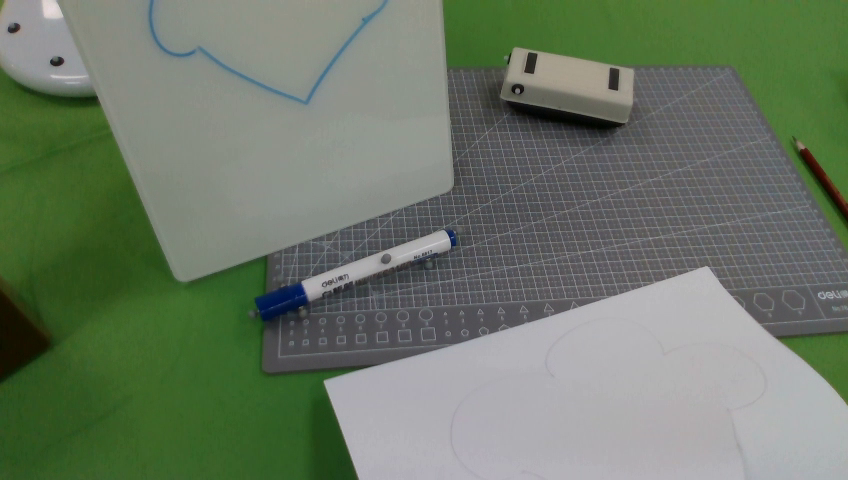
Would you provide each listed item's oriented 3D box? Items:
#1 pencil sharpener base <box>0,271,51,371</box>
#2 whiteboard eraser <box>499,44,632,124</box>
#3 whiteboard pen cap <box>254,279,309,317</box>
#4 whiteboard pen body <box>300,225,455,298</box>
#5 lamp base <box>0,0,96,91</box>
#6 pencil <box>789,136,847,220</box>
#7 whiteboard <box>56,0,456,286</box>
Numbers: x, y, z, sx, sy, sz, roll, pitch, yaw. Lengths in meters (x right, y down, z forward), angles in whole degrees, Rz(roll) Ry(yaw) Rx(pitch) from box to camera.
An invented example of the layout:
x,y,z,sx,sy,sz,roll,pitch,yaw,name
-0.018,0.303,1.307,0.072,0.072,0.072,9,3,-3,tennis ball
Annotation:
x,y,z,sx,sy,sz,roll,pitch,yaw,name
-0.276,0.036,0.335,0.061,0.108,0.076,38,60,19,pencil sharpener base
0.126,-0.137,0.537,0.112,0.042,0.055,13,55,3,whiteboard eraser
-0.094,0.038,0.402,0.033,0.018,0.018,-21,59,-18,whiteboard pen cap
-0.042,0.018,0.420,0.141,0.017,0.017,-20,59,-18,whiteboard pen body
-0.302,-0.241,0.484,0.178,0.182,0.160,30,57,18,lamp base
0.354,-0.020,0.503,0.012,0.012,0.192,-5,54,-9,pencil
-0.113,-0.161,0.406,0.217,0.308,0.142,-20,39,-18,whiteboard
